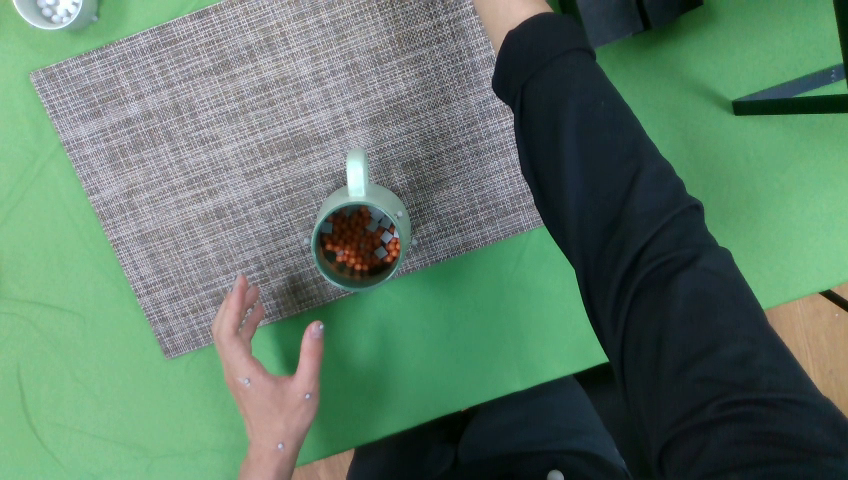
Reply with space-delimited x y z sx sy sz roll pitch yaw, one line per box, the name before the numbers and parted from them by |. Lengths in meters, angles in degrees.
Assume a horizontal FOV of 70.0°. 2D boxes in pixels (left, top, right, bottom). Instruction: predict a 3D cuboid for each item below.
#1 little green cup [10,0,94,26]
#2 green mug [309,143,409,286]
little green cup | -0.326 -0.219 0.534 0.061 0.038 0.062 -1 103 -3
green mug | -0.060 -0.025 0.556 0.092 0.104 0.126 -3 102 -2
